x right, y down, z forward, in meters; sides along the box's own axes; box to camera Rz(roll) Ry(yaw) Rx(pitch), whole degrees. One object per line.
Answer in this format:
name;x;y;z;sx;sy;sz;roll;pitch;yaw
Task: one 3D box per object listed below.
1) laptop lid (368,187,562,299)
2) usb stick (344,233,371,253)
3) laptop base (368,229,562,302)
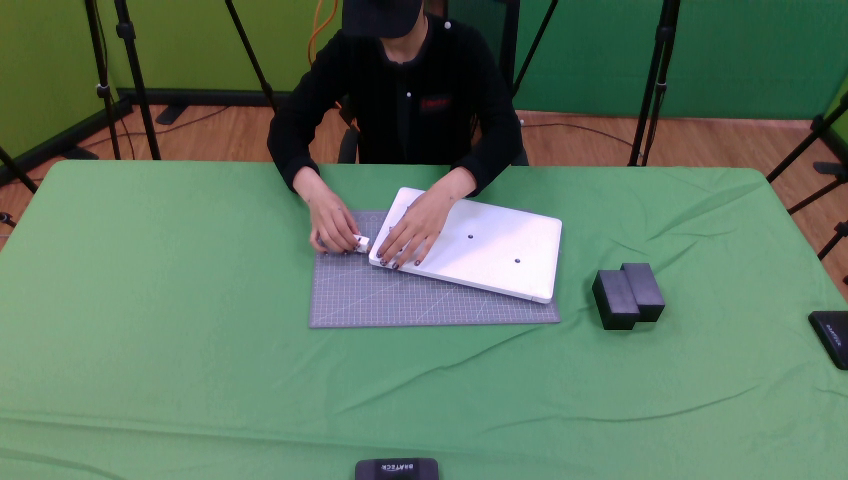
laptop lid;0.090;-0.005;1.198;0.356;0.013;0.240;14;43;9
usb stick;-0.123;0.007;1.165;0.059;0.027;0.021;17;45;3
laptop base;0.089;0.005;1.205;0.354;0.023;0.234;12;42;8
